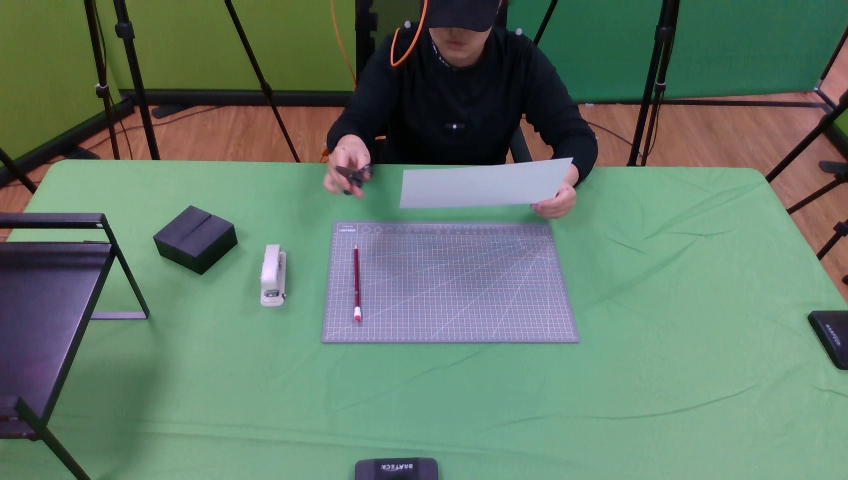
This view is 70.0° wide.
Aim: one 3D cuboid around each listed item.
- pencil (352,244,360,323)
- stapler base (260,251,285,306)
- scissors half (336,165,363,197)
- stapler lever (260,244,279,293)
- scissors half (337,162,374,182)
[{"bbox_3d":[-0.127,0.075,1.120,0.012,0.012,0.192,-2,44,-7],"label":"pencil"},{"bbox_3d":[-0.279,0.064,1.113,0.041,0.024,0.129,-2,44,-9],"label":"stapler base"},{"bbox_3d":[-0.130,-0.103,1.039,0.013,0.175,0.040,36,84,8],"label":"scissors half"},{"bbox_3d":[-0.279,0.045,1.096,0.027,0.040,0.117,-2,44,-9],"label":"stapler lever"},{"bbox_3d":[-0.118,-0.119,1.037,0.013,0.040,0.175,42,12,7],"label":"scissors half"}]
